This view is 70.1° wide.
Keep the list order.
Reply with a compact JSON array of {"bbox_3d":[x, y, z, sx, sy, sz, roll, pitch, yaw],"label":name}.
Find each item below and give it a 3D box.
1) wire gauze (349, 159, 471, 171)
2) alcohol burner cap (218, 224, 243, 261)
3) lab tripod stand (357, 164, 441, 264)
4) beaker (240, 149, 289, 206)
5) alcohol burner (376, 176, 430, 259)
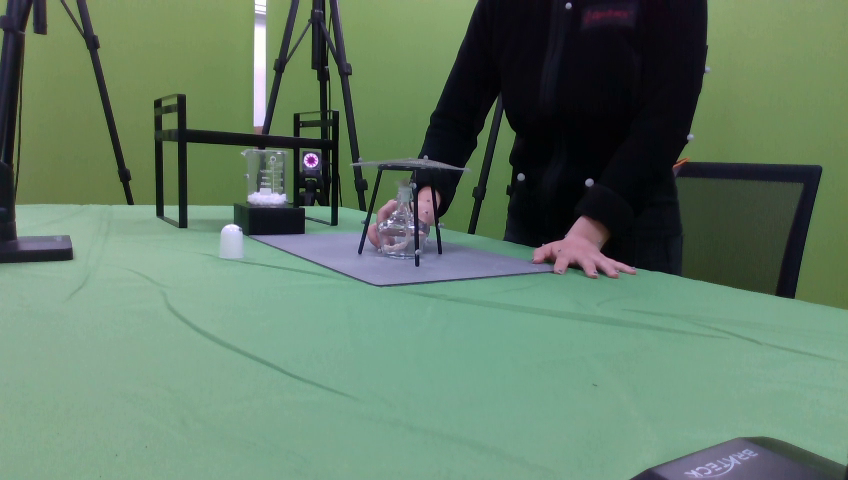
[{"bbox_3d":[-0.019,-0.106,0.847,0.121,0.011,0.126,8,7,42],"label":"wire gauze"},{"bbox_3d":[-0.263,0.002,0.824,0.034,0.048,0.034,5,9,0],"label":"alcohol burner cap"},{"bbox_3d":[-0.023,-0.041,0.859,0.148,0.131,0.148,2,5,0],"label":"lab tripod stand"},{"bbox_3d":[-0.286,-0.112,1.086,0.084,0.100,0.073,-1,9,-23],"label":"beaker"},{"bbox_3d":[-0.030,-0.032,0.868,0.078,0.119,0.078,2,9,0],"label":"alcohol burner"}]
